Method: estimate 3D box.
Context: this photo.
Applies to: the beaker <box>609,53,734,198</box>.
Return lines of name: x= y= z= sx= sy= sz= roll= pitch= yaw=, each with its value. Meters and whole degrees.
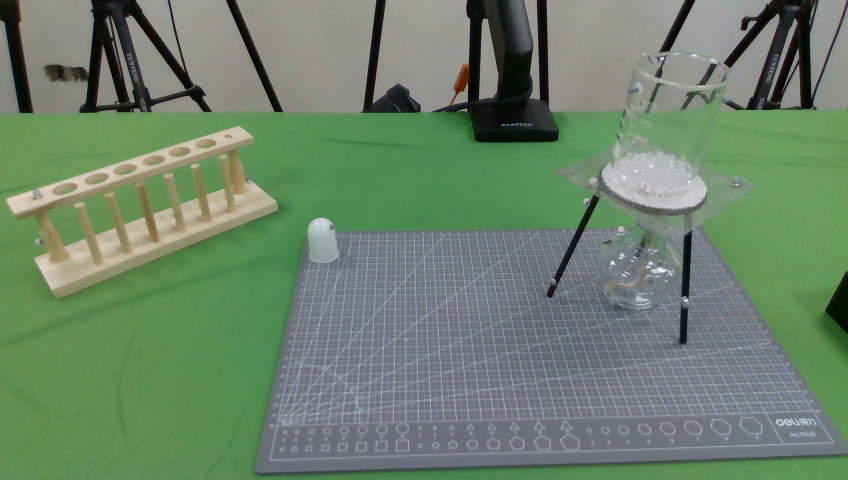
beaker: x=0.195 y=-0.093 z=0.497 sx=0.074 sy=0.101 sz=0.083 roll=-5 pitch=38 yaw=-9

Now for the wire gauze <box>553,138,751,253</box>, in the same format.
wire gauze: x=0.193 y=-0.048 z=0.518 sx=0.121 sy=0.011 sz=0.124 roll=-26 pitch=48 yaw=-29

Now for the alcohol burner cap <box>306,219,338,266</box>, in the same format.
alcohol burner cap: x=-0.108 y=0.000 z=0.634 sx=0.034 sy=0.048 sz=0.033 roll=1 pitch=37 yaw=-1

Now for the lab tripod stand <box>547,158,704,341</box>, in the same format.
lab tripod stand: x=0.197 y=0.004 z=0.558 sx=0.148 sy=0.132 sz=0.147 roll=2 pitch=37 yaw=-1

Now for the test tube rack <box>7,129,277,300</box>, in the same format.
test tube rack: x=-0.286 y=-0.035 z=0.646 sx=0.242 sy=0.086 sz=0.066 roll=-27 pitch=44 yaw=-32

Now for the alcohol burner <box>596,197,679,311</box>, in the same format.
alcohol burner: x=0.205 y=0.009 z=0.569 sx=0.078 sy=0.120 sz=0.077 roll=1 pitch=39 yaw=-1
